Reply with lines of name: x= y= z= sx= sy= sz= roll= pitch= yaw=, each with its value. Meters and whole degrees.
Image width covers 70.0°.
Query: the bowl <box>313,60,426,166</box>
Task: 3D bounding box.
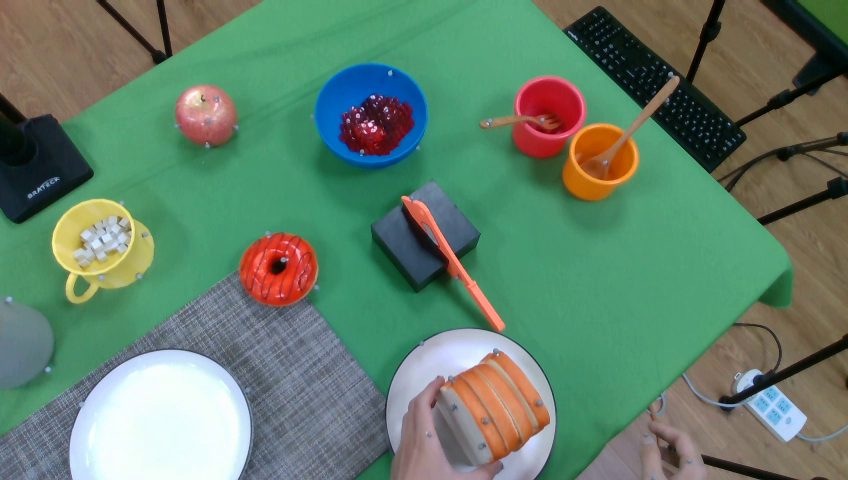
bowl: x=-0.073 y=-0.161 z=0.833 sx=0.151 sy=0.077 sz=0.150 roll=1 pitch=72 yaw=-2

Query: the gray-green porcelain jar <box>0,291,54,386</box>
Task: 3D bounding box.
gray-green porcelain jar: x=-0.504 y=0.111 z=0.696 sx=0.106 sy=0.127 sz=0.105 roll=1 pitch=71 yaw=-2

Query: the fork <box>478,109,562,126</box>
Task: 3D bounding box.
fork: x=0.131 y=-0.163 z=0.808 sx=0.208 sy=0.018 sz=0.028 roll=-15 pitch=67 yaw=-52

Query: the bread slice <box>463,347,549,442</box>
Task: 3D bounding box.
bread slice: x=0.094 y=0.178 z=0.694 sx=0.018 sy=0.135 sz=0.106 roll=-30 pitch=77 yaw=-23

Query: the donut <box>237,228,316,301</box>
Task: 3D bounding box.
donut: x=-0.188 y=0.032 z=0.777 sx=0.099 sy=0.048 sz=0.098 roll=1 pitch=72 yaw=-3

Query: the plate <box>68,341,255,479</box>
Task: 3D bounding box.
plate: x=-0.302 y=0.225 z=0.711 sx=0.208 sy=0.039 sz=0.206 roll=1 pitch=72 yaw=-2

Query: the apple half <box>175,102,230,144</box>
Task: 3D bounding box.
apple half: x=-0.302 y=-0.149 z=0.818 sx=0.081 sy=0.082 sz=0.032 roll=17 pitch=66 yaw=3

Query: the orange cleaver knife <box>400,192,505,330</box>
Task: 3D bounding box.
orange cleaver knife: x=0.035 y=0.026 z=0.774 sx=0.012 sy=0.077 sz=0.212 roll=-37 pitch=102 yaw=-14

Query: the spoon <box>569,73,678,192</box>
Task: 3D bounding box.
spoon: x=0.265 y=-0.140 z=0.806 sx=0.041 sy=0.194 sz=0.022 roll=47 pitch=31 yaw=14

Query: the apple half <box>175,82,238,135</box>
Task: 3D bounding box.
apple half: x=-0.292 y=-0.183 z=0.831 sx=0.080 sy=0.075 sz=0.053 roll=16 pitch=66 yaw=7

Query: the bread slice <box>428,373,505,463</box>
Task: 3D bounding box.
bread slice: x=0.046 y=0.200 z=0.682 sx=0.019 sy=0.132 sz=0.104 roll=-28 pitch=76 yaw=-20

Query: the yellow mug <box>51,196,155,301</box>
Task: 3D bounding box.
yellow mug: x=-0.410 y=0.016 z=0.764 sx=0.100 sy=0.064 sz=0.130 roll=19 pitch=72 yaw=4

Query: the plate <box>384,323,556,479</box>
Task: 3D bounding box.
plate: x=0.055 y=0.207 z=0.739 sx=0.209 sy=0.038 sz=0.207 roll=1 pitch=72 yaw=-3
